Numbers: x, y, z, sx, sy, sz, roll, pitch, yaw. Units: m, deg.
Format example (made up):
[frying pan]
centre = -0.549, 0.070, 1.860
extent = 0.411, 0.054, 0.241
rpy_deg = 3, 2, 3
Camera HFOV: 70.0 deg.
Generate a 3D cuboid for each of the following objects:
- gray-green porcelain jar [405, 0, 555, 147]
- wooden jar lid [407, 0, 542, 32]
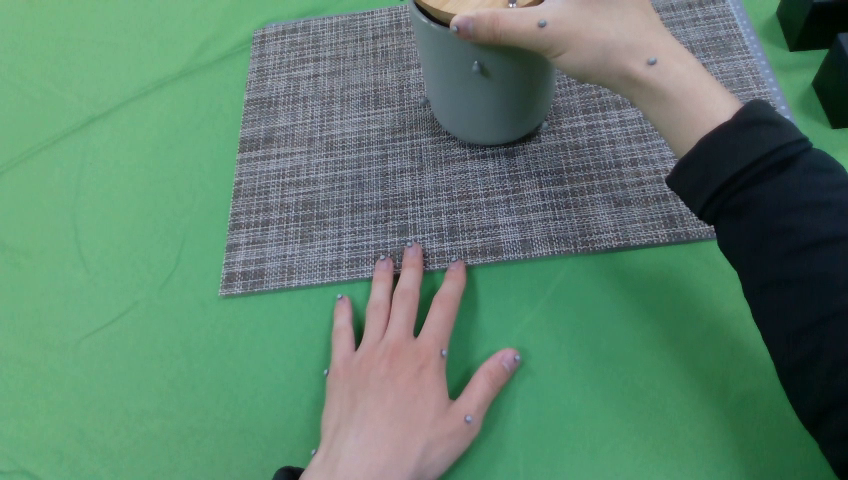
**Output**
[gray-green porcelain jar]
centre = 0.047, -0.144, 0.468
extent = 0.106, 0.128, 0.105
rpy_deg = -4, 59, 7
[wooden jar lid]
centre = 0.037, -0.179, 0.404
extent = 0.108, 0.021, 0.107
rpy_deg = -3, 64, 6
